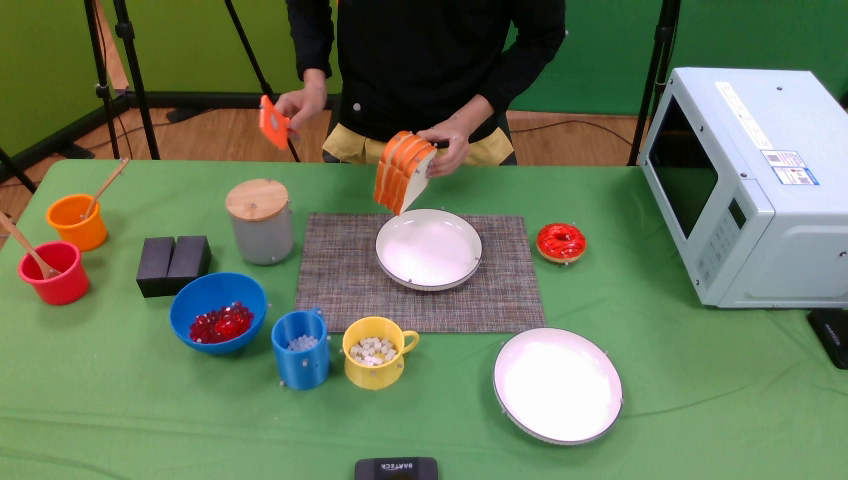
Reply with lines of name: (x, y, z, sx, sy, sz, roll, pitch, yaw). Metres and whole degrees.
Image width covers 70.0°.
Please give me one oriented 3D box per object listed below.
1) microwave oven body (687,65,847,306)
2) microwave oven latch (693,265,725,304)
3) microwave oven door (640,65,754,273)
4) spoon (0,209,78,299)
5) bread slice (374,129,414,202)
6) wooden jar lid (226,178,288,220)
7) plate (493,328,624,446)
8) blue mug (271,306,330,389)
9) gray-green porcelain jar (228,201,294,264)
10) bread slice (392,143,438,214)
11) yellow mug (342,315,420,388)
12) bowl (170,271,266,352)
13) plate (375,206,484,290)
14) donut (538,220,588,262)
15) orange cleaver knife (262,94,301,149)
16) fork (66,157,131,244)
microwave oven body: (0.669, -0.111, 1.176, 0.326, 0.261, 0.439, 0, 46, -3)
microwave oven latch: (0.522, 0.081, 1.115, 0.030, 0.029, 0.078, 2, 46, -1)
microwave oven door: (0.523, -0.147, 1.193, 0.039, 0.245, 0.353, 0, 47, -3)
spoon: (-0.668, 0.021, 1.040, 0.041, 0.021, 0.194, -41, 105, -30)
bread slice: (-0.056, -0.148, 1.140, 0.019, 0.132, 0.104, 30, 51, 14)
wooden jar lid: (-0.296, -0.070, 1.081, 0.108, 0.021, 0.107, 1, 46, -1)
plate: (0.213, 0.236, 0.974, 0.208, 0.039, 0.206, 2, 46, -2)
blue mug: (-0.188, 0.163, 0.969, 0.082, 0.106, 0.116, 15, 47, 10)
gray-green porcelain jar: (-0.300, -0.027, 1.126, 0.106, 0.127, 0.105, 2, 46, -2)
bread slice: (-0.016, -0.119, 1.131, 0.018, 0.135, 0.107, 34, 58, 10)
yellow mug: (-0.068, 0.177, 0.991, 0.131, 0.064, 0.099, -15, 50, -19)
bowl: (-0.333, 0.132, 1.006, 0.151, 0.077, 0.150, 2, 46, -2)
plate: (0.009, 0.018, 1.160, 0.209, 0.038, 0.208, 2, 47, -2)
donut: (0.273, 0.000, 1.198, 0.099, 0.048, 0.098, 0, 46, 0)
orange cleaver knife: (-0.258, -0.206, 1.104, 0.012, 0.211, 0.077, -3, 89, 4)
fork: (-0.608, -0.074, 1.132, 0.207, 0.019, 0.028, -52, 48, 10)
